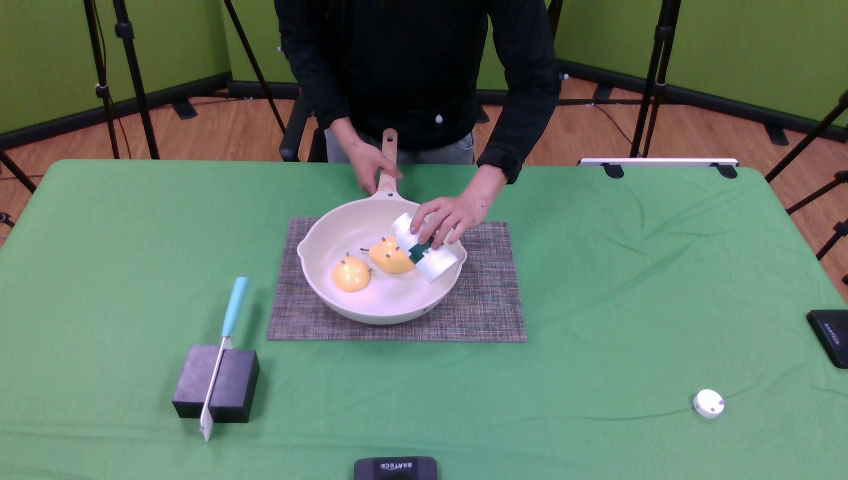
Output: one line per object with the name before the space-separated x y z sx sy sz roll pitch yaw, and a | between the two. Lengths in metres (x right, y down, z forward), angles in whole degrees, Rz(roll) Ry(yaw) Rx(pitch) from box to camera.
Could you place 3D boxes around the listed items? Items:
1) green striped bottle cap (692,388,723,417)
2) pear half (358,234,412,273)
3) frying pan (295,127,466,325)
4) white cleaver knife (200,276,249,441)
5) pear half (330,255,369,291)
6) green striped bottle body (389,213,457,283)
green striped bottle cap | 0.460 0.263 0.984 0.044 0.020 0.044 3 47 -3
pear half | -0.074 0.017 1.146 0.110 0.056 0.076 9 41 7
frying pan | -0.076 -0.045 1.172 0.307 0.103 0.485 3 55 -2
white cleaver knife | -0.321 0.177 0.972 0.021 0.066 0.284 7 48 -5
pear half | -0.139 0.053 1.121 0.070 0.031 0.087 -6 50 -17
green striped bottle body | -0.006 0.009 1.020 0.119 0.063 0.063 49 57 5
